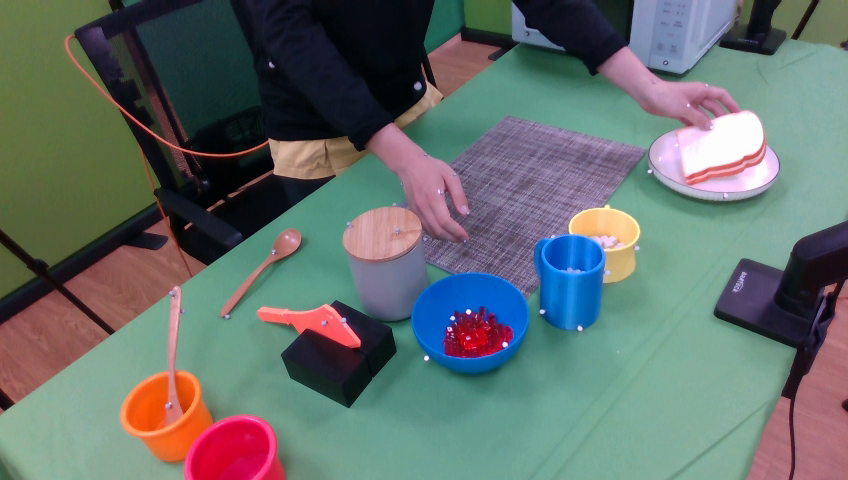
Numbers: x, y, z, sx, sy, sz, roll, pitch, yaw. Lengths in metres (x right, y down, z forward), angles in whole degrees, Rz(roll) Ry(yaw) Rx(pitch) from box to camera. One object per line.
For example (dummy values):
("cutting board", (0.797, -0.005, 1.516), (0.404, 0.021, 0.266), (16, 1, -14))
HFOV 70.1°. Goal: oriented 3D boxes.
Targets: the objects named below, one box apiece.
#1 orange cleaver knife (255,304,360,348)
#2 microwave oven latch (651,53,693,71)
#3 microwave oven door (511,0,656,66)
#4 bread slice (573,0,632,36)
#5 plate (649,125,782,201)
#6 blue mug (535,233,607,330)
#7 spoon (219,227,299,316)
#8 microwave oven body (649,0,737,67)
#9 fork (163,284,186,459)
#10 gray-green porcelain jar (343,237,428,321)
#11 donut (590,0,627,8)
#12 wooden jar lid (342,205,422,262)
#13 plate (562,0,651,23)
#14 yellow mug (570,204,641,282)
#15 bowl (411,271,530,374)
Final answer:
("orange cleaver knife", (-0.161, 0.115, 0.813), (0.210, 0.077, 0.012), (-4, 32, 47))
("microwave oven latch", (0.533, -0.387, 1.302), (0.078, 0.029, 0.030), (30, 53, 36))
("microwave oven door", (0.351, -0.539, 1.349), (0.353, 0.245, 0.039), (24, 50, 31))
("bread slice", (0.430, -0.560, 1.477), (0.105, 0.019, 0.131), (-28, 68, -21))
("plate", (0.493, -0.127, 1.036), (0.207, 0.039, 0.206), (-4, 40, 4))
("blue mug", (0.191, 0.048, 0.824), (0.082, 0.106, 0.115), (-26, 44, -20))
("spoon", (-0.261, 0.046, 0.954), (0.041, 0.021, 0.194), (26, 48, 11))
("microwave oven body", (0.475, -0.602, 1.411), (0.438, 0.261, 0.327), (23, 50, 32))
("fork", (-0.303, 0.157, 0.733), (0.028, 0.019, 0.207), (-3, 84, 13))
("gray-green porcelain jar", (-0.050, 0.042, 0.849), (0.106, 0.127, 0.105), (-4, 41, 4))
("donut", (0.438, -0.588, 1.433), (0.099, 0.048, 0.098), (-2, 53, 3))
("wooden jar lid", (-0.055, -0.005, 0.808), (0.108, 0.021, 0.108), (-6, 41, 6))
("plate", (0.440, -0.573, 1.455), (0.209, 0.038, 0.208), (-6, 43, 6))
("yellow mug", (0.268, -0.005, 0.904), (0.099, 0.064, 0.130), (7, 41, 15))
("bowl", (0.062, 0.120, 0.780), (0.151, 0.077, 0.150), (-4, 40, 4))
